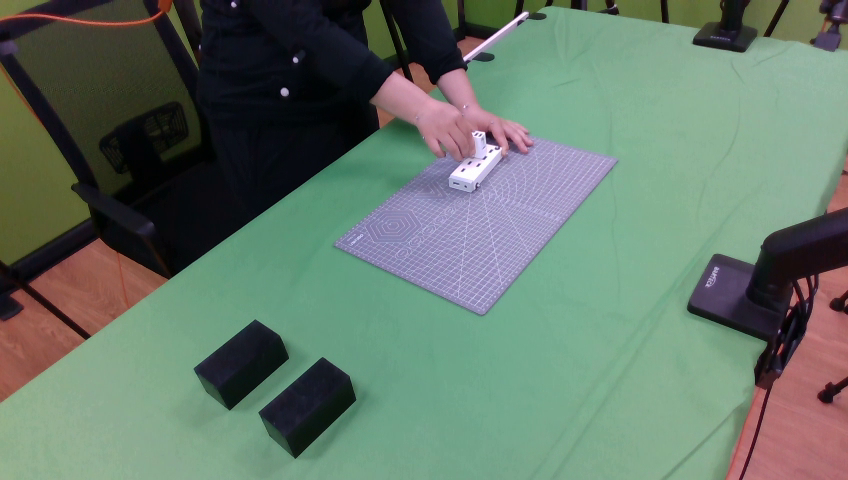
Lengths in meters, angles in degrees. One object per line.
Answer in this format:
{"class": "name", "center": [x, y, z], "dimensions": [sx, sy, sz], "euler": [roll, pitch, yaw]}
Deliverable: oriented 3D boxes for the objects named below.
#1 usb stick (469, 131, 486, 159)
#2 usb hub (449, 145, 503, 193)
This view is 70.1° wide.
{"class": "usb stick", "center": [0.097, -0.166, 1.099], "dimensions": [0.027, 0.059, 0.021], "euler": [18, 43, 22]}
{"class": "usb hub", "center": [0.096, -0.132, 1.106], "dimensions": [0.049, 0.025, 0.125], "euler": [19, 47, 27]}
